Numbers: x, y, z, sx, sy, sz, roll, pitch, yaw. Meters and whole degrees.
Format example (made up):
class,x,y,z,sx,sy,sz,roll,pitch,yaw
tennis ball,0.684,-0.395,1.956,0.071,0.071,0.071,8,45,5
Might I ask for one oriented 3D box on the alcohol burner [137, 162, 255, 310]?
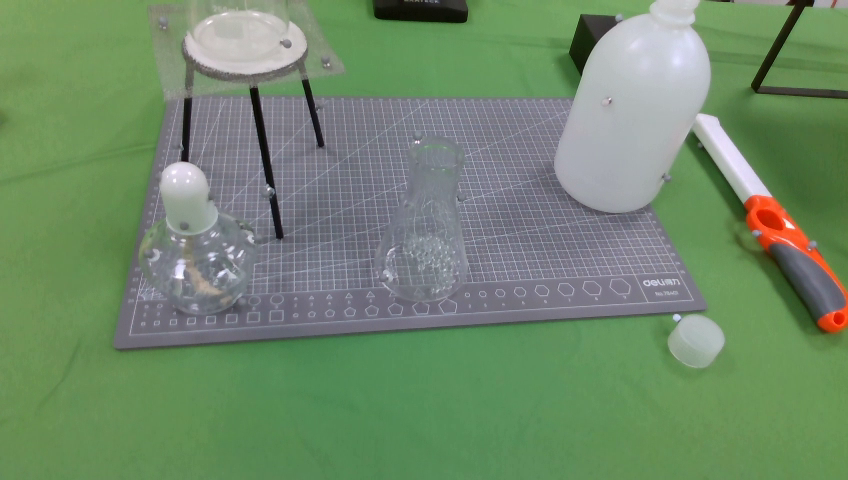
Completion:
class,x,y,z,sx,sy,sz,roll,pitch,yaw
alcohol burner,-0.156,-0.006,0.413,0.078,0.120,0.077,6,46,-5

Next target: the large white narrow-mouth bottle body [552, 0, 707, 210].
class,x,y,z,sx,sy,sz,roll,pitch,yaw
large white narrow-mouth bottle body,0.179,-0.124,0.516,0.102,0.196,0.101,4,47,-4

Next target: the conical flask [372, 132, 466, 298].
class,x,y,z,sx,sy,sz,roll,pitch,yaw
conical flask,0.001,-0.020,0.443,0.075,0.123,0.074,4,47,-4

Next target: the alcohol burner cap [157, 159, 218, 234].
class,x,y,z,sx,sy,sz,roll,pitch,yaw
alcohol burner cap,-0.152,-0.030,0.386,0.034,0.048,0.033,4,53,-5

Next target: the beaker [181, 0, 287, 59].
class,x,y,z,sx,sy,sz,roll,pitch,yaw
beaker,-0.133,-0.181,0.407,0.084,0.101,0.073,-7,51,-14

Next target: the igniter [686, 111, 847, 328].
class,x,y,z,sx,sy,sz,roll,pitch,yaw
igniter,0.316,-0.032,0.571,0.057,0.025,0.273,6,46,-17

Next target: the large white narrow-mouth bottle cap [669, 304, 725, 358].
class,x,y,z,sx,sy,sz,roll,pitch,yaw
large white narrow-mouth bottle cap,0.210,0.070,0.466,0.038,0.024,0.037,4,47,-4

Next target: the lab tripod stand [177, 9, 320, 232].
class,x,y,z,sx,sy,sz,roll,pitch,yaw
lab tripod stand,-0.137,-0.101,0.489,0.148,0.132,0.147,6,48,-6

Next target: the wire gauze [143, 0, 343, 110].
class,x,y,z,sx,sy,sz,roll,pitch,yaw
wire gauze,-0.134,-0.146,0.442,0.122,0.011,0.123,-14,55,-18
